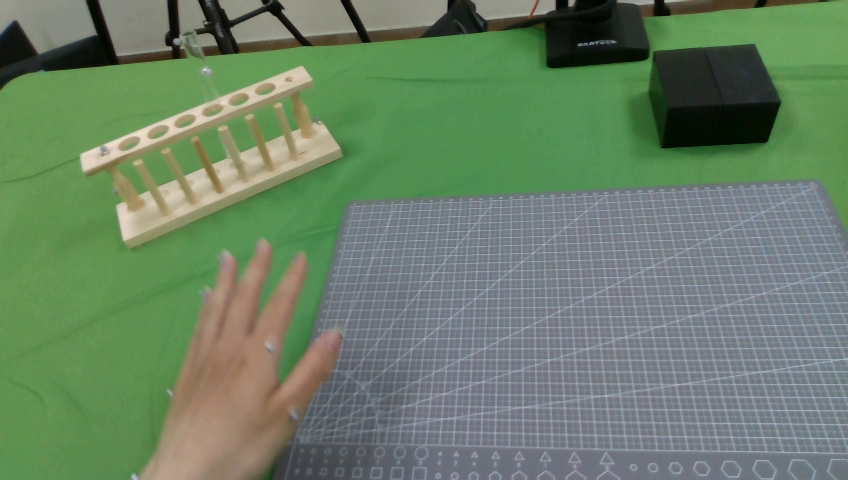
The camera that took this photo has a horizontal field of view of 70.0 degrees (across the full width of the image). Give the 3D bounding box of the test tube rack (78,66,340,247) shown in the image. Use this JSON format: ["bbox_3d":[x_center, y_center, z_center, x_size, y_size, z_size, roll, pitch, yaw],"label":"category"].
[{"bbox_3d":[-0.221,-0.091,0.645,0.242,0.086,0.066,-26,49,-12],"label":"test tube rack"}]

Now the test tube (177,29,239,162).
[{"bbox_3d":[-0.219,-0.143,0.623,0.017,0.152,0.017,-4,44,4],"label":"test tube"}]
